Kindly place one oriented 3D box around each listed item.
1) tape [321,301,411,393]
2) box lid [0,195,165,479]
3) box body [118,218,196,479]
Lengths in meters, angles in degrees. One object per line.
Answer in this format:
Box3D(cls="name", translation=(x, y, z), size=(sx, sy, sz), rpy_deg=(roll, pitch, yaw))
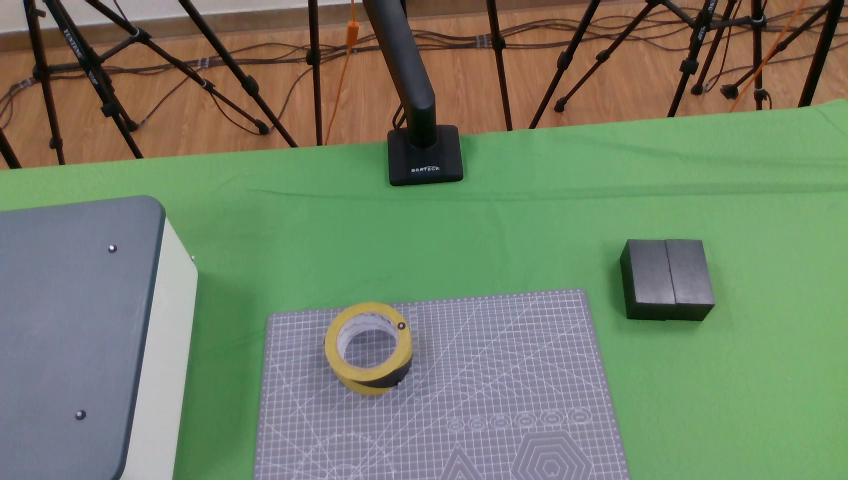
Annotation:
Box3D(cls="tape", translation=(-0.074, 0.140, 0.793), size=(0.117, 0.053, 0.116), rpy_deg=(-1, 58, 3))
Box3D(cls="box lid", translation=(-0.443, 0.107, 0.681), size=(0.263, 0.015, 0.368), rpy_deg=(-6, 58, -1))
Box3D(cls="box body", translation=(-0.440, 0.149, 0.743), size=(0.254, 0.162, 0.360), rpy_deg=(-6, 58, -1))
